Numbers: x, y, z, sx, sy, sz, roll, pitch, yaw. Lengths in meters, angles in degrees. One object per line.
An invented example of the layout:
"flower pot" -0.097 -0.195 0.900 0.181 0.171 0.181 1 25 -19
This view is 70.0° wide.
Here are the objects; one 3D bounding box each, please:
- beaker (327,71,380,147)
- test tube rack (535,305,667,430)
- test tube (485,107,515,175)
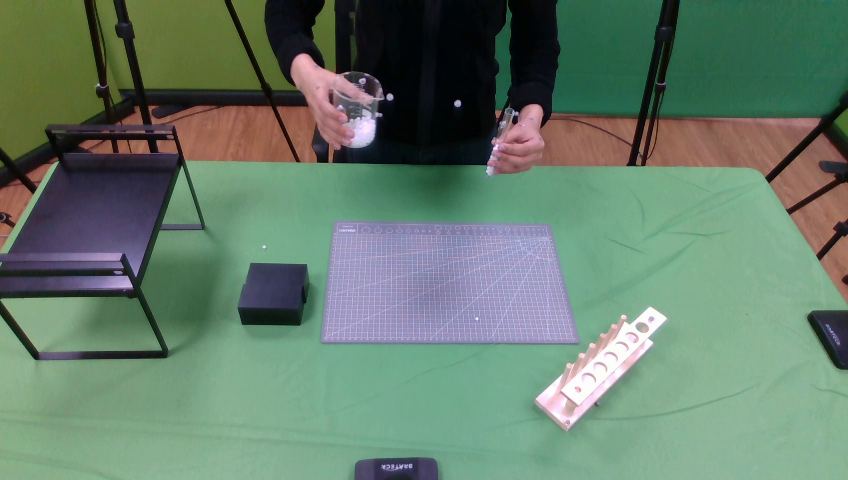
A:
"beaker" -0.111 -0.204 0.960 0.084 0.101 0.073 20 50 8
"test tube rack" 0.290 0.193 0.984 0.242 0.085 0.066 -32 56 -30
"test tube" 0.124 -0.160 0.998 0.017 0.151 0.017 5 55 -7
